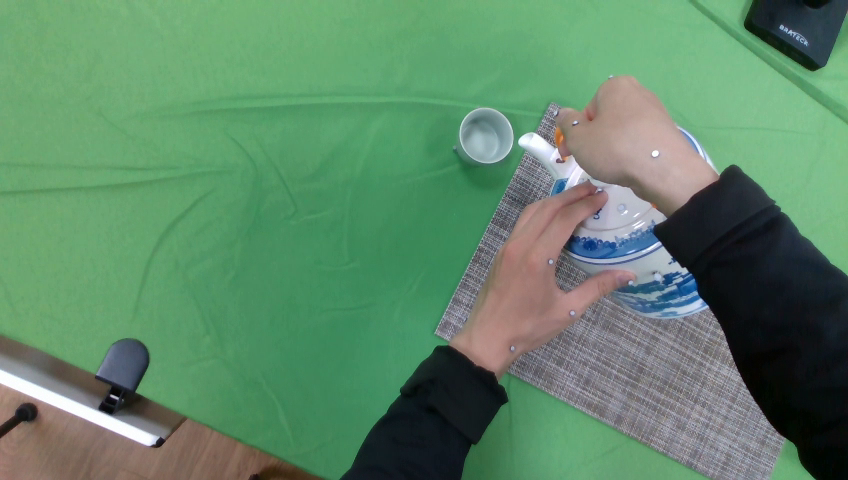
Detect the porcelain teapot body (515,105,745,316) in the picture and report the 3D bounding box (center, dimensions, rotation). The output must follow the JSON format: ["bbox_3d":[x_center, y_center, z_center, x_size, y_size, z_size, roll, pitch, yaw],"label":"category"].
[{"bbox_3d":[0.167,-0.044,0.561,0.228,0.203,0.145,36,91,-40],"label":"porcelain teapot body"}]

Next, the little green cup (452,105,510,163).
[{"bbox_3d":[0.060,-0.114,0.670,0.062,0.038,0.061,1,85,-11],"label":"little green cup"}]

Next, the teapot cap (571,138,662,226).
[{"bbox_3d":[0.159,-0.052,0.512,0.044,0.084,0.085,35,79,-37],"label":"teapot cap"}]
